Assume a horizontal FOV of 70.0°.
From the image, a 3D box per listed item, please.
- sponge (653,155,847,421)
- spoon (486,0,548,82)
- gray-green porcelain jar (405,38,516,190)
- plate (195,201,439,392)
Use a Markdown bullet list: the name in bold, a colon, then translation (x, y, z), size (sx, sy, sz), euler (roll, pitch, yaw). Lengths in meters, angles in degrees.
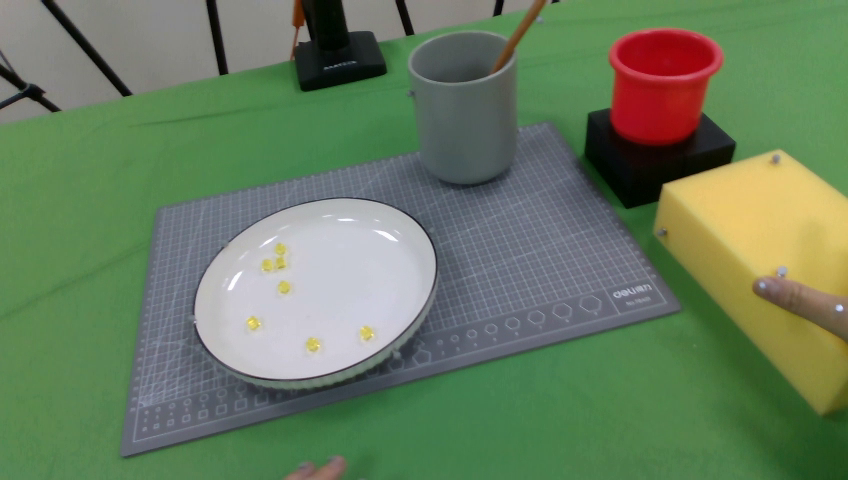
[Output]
- **sponge**: translation (0.294, 0.024, 0.474), size (0.118, 0.061, 0.204), euler (-18, 44, -10)
- **spoon**: translation (0.067, -0.151, 0.588), size (0.022, 0.194, 0.041), euler (18, 37, -12)
- **gray-green porcelain jar**: translation (0.041, -0.123, 0.618), size (0.106, 0.128, 0.105), euler (-5, 44, 5)
- **plate**: translation (-0.089, 0.046, 0.527), size (0.207, 0.039, 0.205), euler (-5, 43, 5)
